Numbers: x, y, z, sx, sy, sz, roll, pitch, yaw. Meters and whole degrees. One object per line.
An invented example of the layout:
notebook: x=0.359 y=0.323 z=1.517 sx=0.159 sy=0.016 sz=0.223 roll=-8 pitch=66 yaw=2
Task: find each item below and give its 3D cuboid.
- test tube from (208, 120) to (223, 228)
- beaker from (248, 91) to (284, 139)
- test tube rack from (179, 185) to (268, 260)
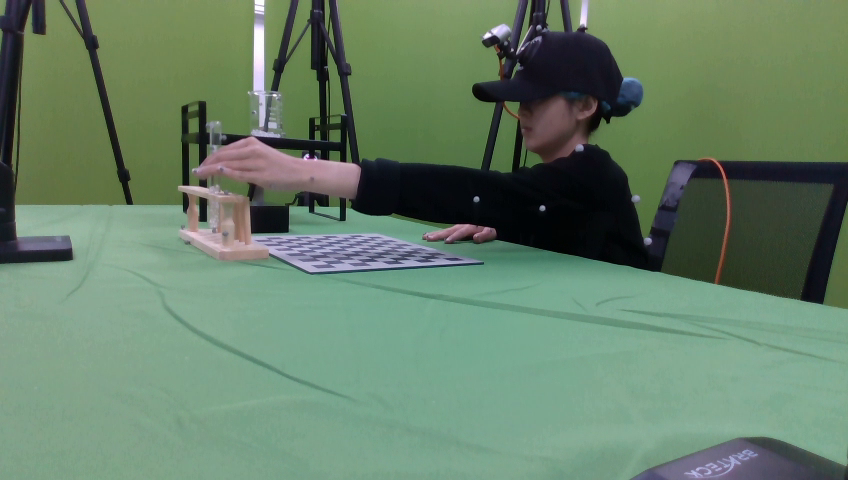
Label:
test tube: x=-0.292 y=-0.092 z=0.847 sx=0.017 sy=0.150 sz=0.017 roll=2 pitch=0 yaw=0
beaker: x=-0.353 y=-0.277 z=1.343 sx=0.073 sy=0.100 sz=0.084 roll=8 pitch=9 yaw=39
test tube rack: x=-0.303 y=-0.031 z=0.898 sx=0.067 sy=0.085 sz=0.241 roll=-2 pitch=9 yaw=-33
